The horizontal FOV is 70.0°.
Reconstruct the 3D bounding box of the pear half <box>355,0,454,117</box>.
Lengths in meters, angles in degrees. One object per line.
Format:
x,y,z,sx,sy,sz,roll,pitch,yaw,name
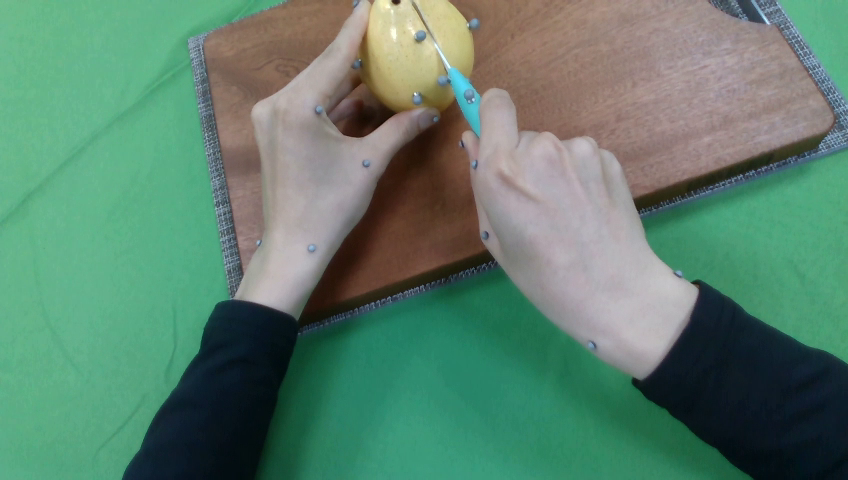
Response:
-0.020,-0.125,0.396,0.056,0.111,0.075,-31,60,-2,pear half

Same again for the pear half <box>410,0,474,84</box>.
0.014,-0.139,0.405,0.031,0.089,0.069,-33,59,-2,pear half

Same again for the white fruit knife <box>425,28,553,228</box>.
0.021,-0.094,0.370,0.016,0.027,0.205,-30,65,3,white fruit knife
